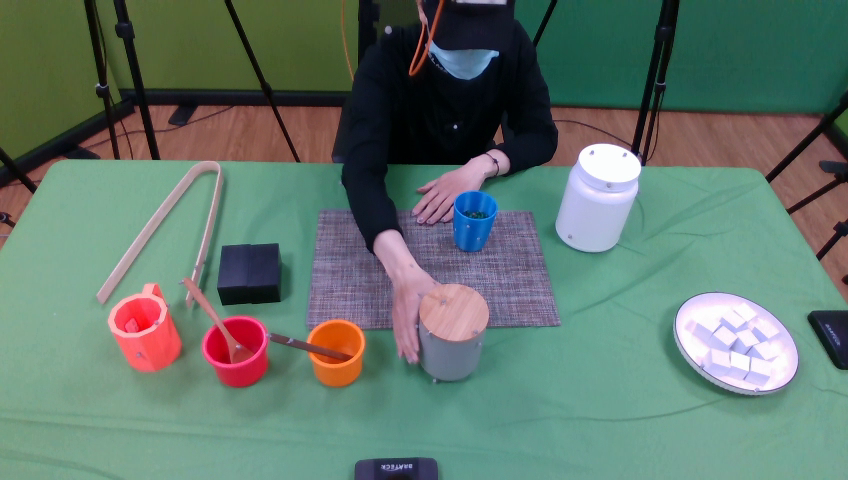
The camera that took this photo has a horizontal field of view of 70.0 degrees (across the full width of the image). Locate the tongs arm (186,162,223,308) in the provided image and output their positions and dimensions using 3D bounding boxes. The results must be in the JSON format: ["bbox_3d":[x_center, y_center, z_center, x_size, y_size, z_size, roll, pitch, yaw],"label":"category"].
[{"bbox_3d":[-0.436,-0.024,1.181,0.051,0.027,0.382,-3,45,1],"label":"tongs arm"}]

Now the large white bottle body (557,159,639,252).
[{"bbox_3d":[0.340,-0.081,1.185,0.131,0.185,0.130,2,46,-2],"label":"large white bottle body"}]

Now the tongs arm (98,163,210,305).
[{"bbox_3d":[-0.520,-0.026,1.184,0.028,0.028,0.385,4,45,13],"label":"tongs arm"}]

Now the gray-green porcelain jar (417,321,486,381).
[{"bbox_3d":[0.042,0.158,0.975,0.106,0.127,0.105,2,46,-2],"label":"gray-green porcelain jar"}]

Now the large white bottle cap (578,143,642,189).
[{"bbox_3d":[0.344,-0.139,1.123,0.115,0.018,0.114,2,46,-2],"label":"large white bottle cap"}]

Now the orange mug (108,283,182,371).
[{"bbox_3d":[-0.446,0.134,0.983,0.083,0.101,0.125,-1,50,-5],"label":"orange mug"}]

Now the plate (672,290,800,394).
[{"bbox_3d":[0.533,0.179,1.050,0.208,0.039,0.206,2,46,-2],"label":"plate"}]

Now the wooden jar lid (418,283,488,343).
[{"bbox_3d":[0.044,0.114,0.931,0.108,0.021,0.107,2,49,-2],"label":"wooden jar lid"}]

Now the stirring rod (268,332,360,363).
[{"bbox_3d":[-0.167,0.169,0.942,0.177,0.006,0.014,26,28,-41],"label":"stirring rod"}]

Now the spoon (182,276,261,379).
[{"bbox_3d":[-0.321,0.137,0.957,0.041,0.021,0.194,-36,102,-32],"label":"spoon"}]

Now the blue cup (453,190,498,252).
[{"bbox_3d":[0.094,-0.031,1.174,0.093,0.101,0.092,3,45,-3],"label":"blue cup"}]
